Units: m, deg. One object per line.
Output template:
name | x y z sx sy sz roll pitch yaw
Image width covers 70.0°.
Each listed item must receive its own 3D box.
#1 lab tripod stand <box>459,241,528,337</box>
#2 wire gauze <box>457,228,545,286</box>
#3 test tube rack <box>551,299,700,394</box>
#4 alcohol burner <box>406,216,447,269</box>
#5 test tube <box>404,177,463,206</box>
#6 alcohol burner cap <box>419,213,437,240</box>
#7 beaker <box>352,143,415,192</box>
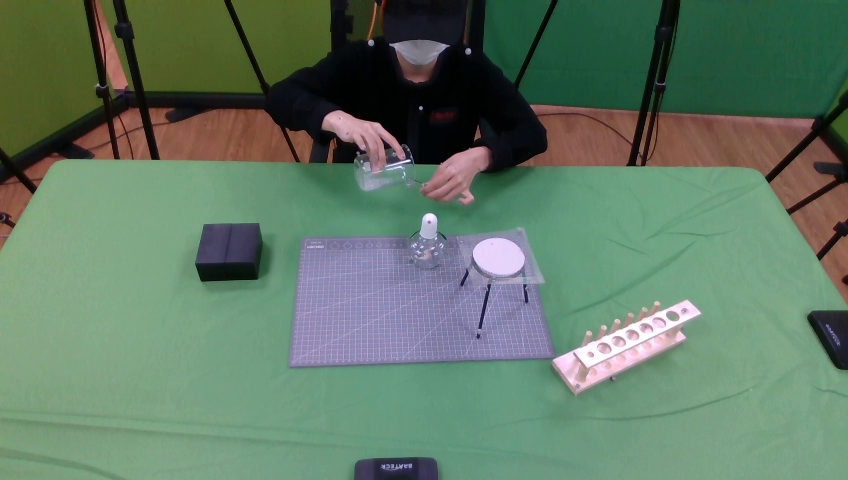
lab tripod stand | 0.122 0.075 1.054 0.148 0.132 0.147 3 44 -3
wire gauze | 0.126 0.029 1.006 0.125 0.011 0.120 -4 46 -10
test tube rack | 0.339 0.166 1.021 0.242 0.085 0.066 -19 50 -21
alcohol burner | 0.006 -0.003 1.134 0.078 0.120 0.077 2 48 -2
test tube | 0.021 -0.096 1.217 0.151 0.017 0.017 19 35 -37
alcohol burner cap | 0.009 -0.027 1.109 0.034 0.048 0.033 3 44 -3
beaker | -0.077 -0.132 1.135 0.100 0.084 0.073 -16 41 -17
